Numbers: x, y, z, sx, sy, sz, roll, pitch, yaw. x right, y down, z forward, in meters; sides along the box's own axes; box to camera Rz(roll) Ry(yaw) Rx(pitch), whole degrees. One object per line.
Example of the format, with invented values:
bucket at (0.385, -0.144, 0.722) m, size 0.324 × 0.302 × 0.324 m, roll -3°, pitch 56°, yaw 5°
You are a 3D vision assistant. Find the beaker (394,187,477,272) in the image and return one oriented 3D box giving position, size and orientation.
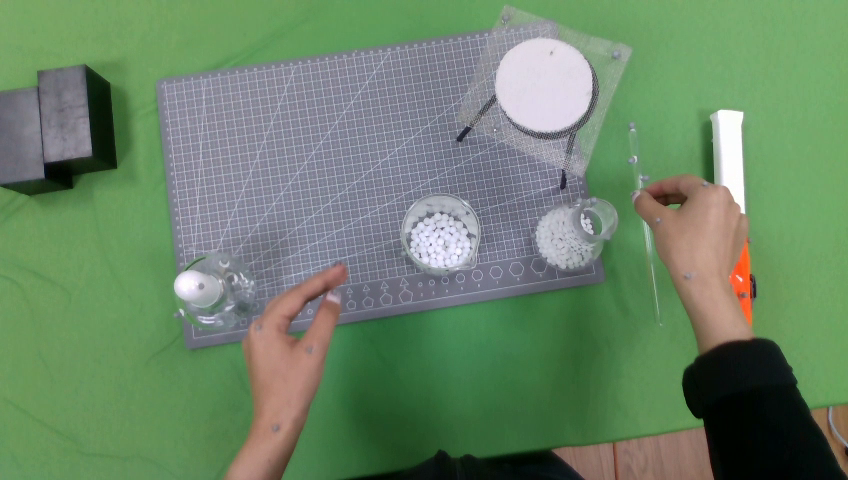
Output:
beaker at (0.014, -0.004, 0.604) m, size 0.074 × 0.100 × 0.084 m, roll -45°, pitch 86°, yaw -4°

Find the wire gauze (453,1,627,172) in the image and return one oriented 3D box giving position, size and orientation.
wire gauze at (0.102, -0.139, 0.535) m, size 0.125 × 0.011 × 0.121 m, roll 23°, pitch 86°, yaw 3°

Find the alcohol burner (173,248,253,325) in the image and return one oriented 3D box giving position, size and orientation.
alcohol burner at (-0.211, 0.045, 0.590) m, size 0.078 × 0.119 × 0.077 m, roll 0°, pitch 84°, yaw 1°

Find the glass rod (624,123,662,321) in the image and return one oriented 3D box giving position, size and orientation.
glass rod at (0.215, -0.016, 0.594) m, size 0.008 × 0.008 × 0.200 m, roll -12°, pitch 97°, yaw -2°

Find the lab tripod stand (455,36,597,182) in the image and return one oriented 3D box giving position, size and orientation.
lab tripod stand at (0.105, -0.129, 0.601) m, size 0.148 × 0.132 × 0.148 m, roll 0°, pitch 85°, yaw 1°

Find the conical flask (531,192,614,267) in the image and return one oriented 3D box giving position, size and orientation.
conical flask at (0.151, -0.016, 0.594) m, size 0.075 × 0.122 × 0.075 m, roll 0°, pitch 83°, yaw 0°

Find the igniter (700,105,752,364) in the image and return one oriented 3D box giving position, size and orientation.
igniter at (0.320, -0.008, 0.645) m, size 0.057 × 0.025 × 0.275 m, roll 3°, pitch 83°, yaw -10°

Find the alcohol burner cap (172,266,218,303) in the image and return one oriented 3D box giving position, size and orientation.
alcohol burner cap at (-0.211, 0.039, 0.555) m, size 0.034 × 0.048 × 0.033 m, roll 1°, pitch 76°, yaw -2°
